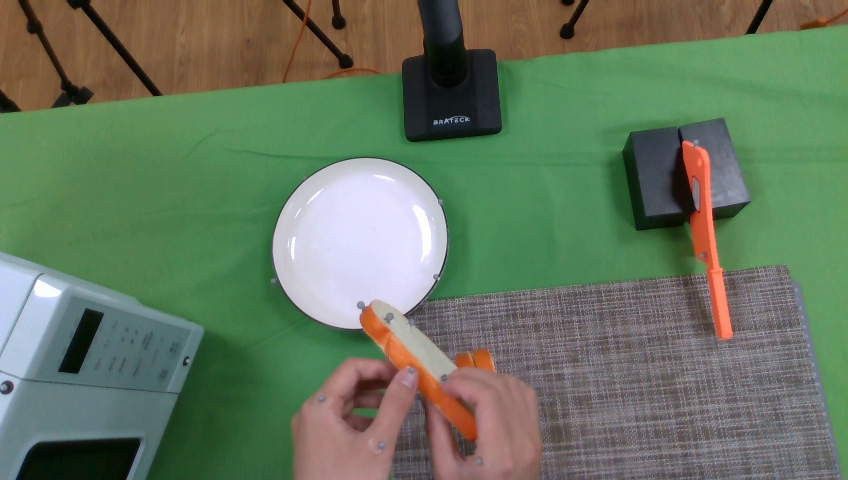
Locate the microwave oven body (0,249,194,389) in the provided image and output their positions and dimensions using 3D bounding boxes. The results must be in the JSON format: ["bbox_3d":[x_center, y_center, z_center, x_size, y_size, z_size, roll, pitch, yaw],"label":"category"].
[{"bbox_3d":[-0.480,0.221,0.577,0.325,0.262,0.440,16,78,10],"label":"microwave oven body"}]

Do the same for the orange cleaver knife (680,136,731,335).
[{"bbox_3d":[0.295,-0.007,0.642,0.012,0.077,0.211,-10,94,7],"label":"orange cleaver knife"}]

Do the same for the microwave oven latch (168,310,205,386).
[{"bbox_3d":[-0.275,0.122,0.680,0.030,0.030,0.079,18,78,11],"label":"microwave oven latch"}]

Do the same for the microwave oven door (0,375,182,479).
[{"bbox_3d":[-0.356,0.296,0.536,0.039,0.245,0.354,15,77,12],"label":"microwave oven door"}]

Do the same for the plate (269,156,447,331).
[{"bbox_3d":[-0.074,0.004,0.707,0.207,0.039,0.206,-2,74,6],"label":"plate"}]

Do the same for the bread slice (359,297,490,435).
[{"bbox_3d":[0.002,0.098,0.496,0.134,0.107,0.018,43,92,2],"label":"bread slice"}]
